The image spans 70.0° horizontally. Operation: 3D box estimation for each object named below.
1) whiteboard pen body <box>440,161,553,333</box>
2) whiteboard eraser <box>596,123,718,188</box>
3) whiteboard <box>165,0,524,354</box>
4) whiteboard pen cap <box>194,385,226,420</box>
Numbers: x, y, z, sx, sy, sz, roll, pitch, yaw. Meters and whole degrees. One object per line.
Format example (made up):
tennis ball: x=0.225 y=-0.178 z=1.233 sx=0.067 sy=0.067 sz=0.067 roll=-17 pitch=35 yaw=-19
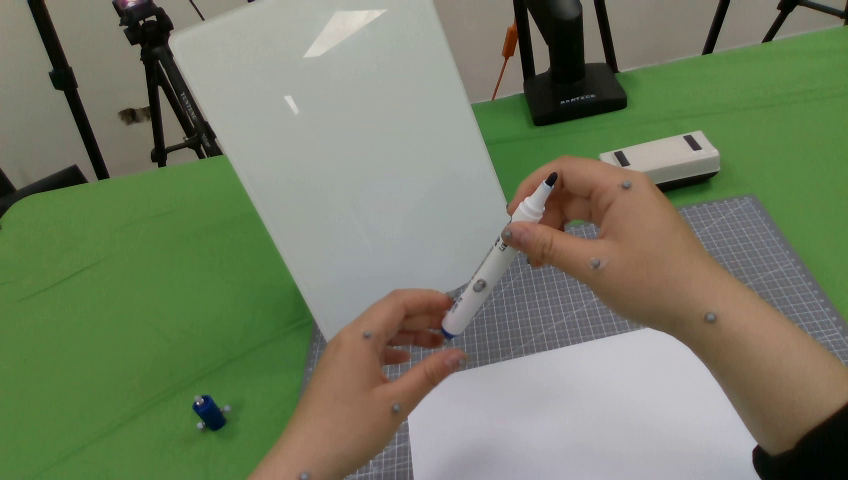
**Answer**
whiteboard pen body: x=0.043 y=0.008 z=0.370 sx=0.017 sy=0.141 sz=0.017 roll=18 pitch=38 yaw=-14
whiteboard eraser: x=0.245 y=-0.087 z=0.640 sx=0.112 sy=0.042 sz=0.055 roll=-12 pitch=42 yaw=4
whiteboard: x=-0.071 y=-0.090 z=0.592 sx=0.217 sy=0.307 sz=0.142 roll=-29 pitch=21 yaw=-14
whiteboard pen cap: x=-0.186 y=0.142 z=0.527 sx=0.018 sy=0.033 sz=0.018 roll=-8 pitch=41 yaw=7
